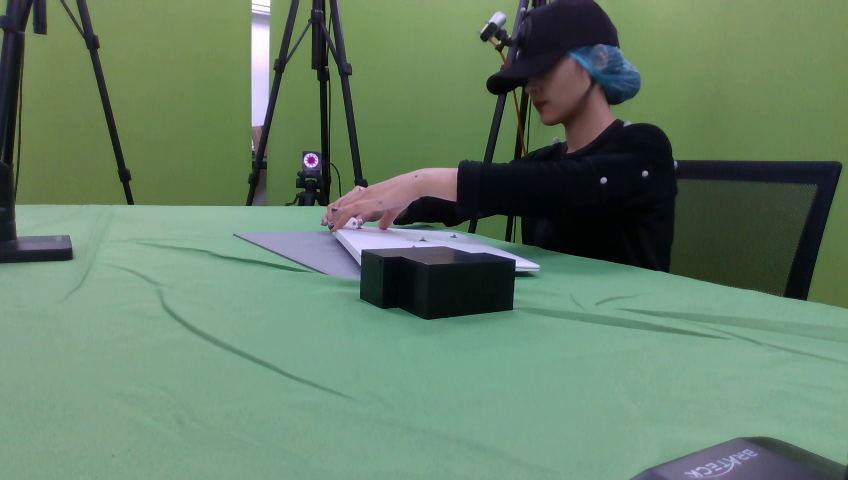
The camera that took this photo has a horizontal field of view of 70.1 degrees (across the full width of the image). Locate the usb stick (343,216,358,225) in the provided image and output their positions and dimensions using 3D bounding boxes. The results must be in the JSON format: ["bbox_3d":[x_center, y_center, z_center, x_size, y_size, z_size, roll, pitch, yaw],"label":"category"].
[{"bbox_3d":[-0.130,-0.026,1.072,0.021,0.027,0.059,3,12,-13],"label":"usb stick"}]

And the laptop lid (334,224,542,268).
[{"bbox_3d":[-0.001,0.004,0.903,0.242,0.013,0.355,4,7,-14],"label":"laptop lid"}]

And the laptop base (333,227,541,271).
[{"bbox_3d":[-0.004,0.015,0.903,0.236,0.023,0.353,5,6,-15],"label":"laptop base"}]
